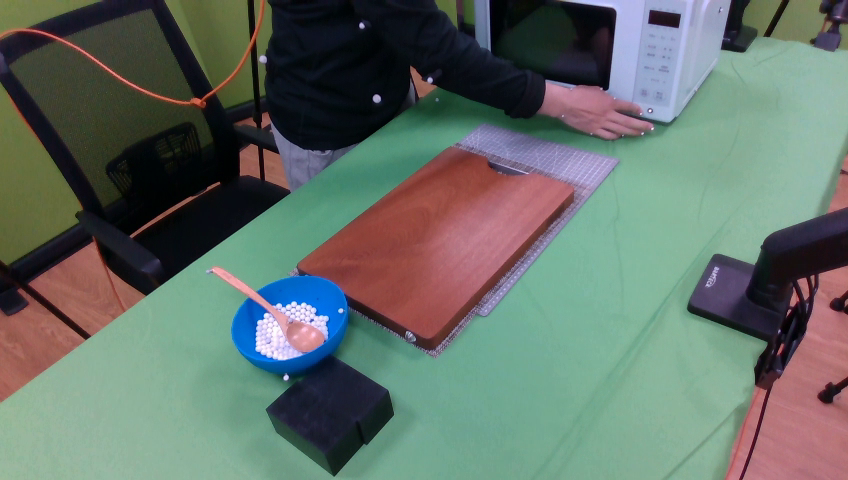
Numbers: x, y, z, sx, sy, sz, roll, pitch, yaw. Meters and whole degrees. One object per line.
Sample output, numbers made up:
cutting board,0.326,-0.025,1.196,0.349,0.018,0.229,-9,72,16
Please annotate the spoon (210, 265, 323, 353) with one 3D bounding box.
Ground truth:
spoon,-0.213,0.087,0.806,0.193,0.021,0.042,37,57,12

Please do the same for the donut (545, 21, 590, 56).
donut,0.308,-0.433,1.298,0.099,0.048,0.098,-23,34,17

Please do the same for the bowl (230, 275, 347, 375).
bowl,-0.170,0.125,0.802,0.151,0.077,0.150,-4,40,4

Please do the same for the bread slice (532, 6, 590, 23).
bread slice,0.293,-0.478,1.278,0.106,0.018,0.134,6,29,19

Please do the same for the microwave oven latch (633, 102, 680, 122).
microwave oven latch,0.444,-0.250,1.158,0.078,0.029,0.030,22,49,31

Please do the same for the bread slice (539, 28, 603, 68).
bread slice,0.330,-0.428,1.341,0.104,0.019,0.131,20,59,41

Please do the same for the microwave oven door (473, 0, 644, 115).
microwave oven door,0.257,-0.396,1.199,0.353,0.245,0.039,21,48,29

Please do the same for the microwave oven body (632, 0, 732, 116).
microwave oven body,0.377,-0.463,1.267,0.438,0.261,0.327,21,49,30
